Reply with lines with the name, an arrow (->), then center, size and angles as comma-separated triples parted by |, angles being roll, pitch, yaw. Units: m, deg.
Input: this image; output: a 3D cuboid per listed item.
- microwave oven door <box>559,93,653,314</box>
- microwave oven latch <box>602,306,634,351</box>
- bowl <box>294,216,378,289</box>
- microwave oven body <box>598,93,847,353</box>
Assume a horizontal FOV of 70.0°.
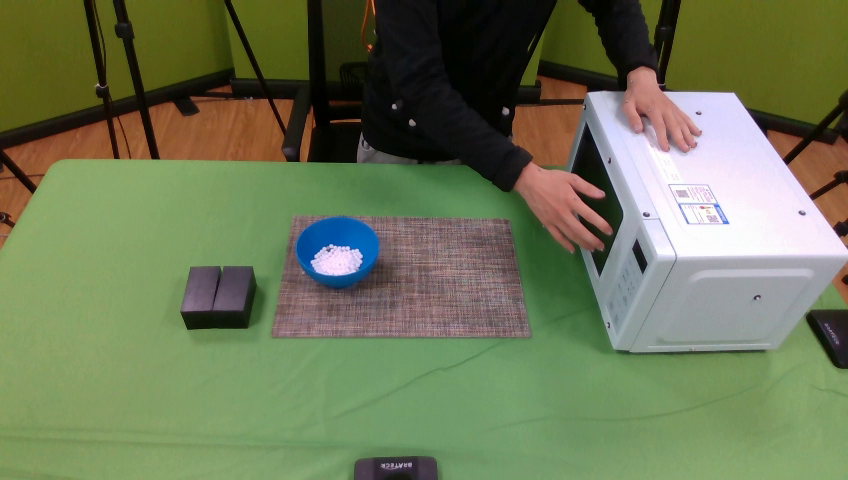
microwave oven door -> 0.327, -0.075, 1.123 | 0.039, 0.245, 0.353 | -1, 46, -5
microwave oven latch -> 0.332, 0.153, 1.044 | 0.030, 0.029, 0.078 | 0, 45, -4
bowl -> -0.158, 0.036, 1.110 | 0.151, 0.077, 0.150 | 3, 45, -2
microwave oven body -> 0.475, -0.041, 1.109 | 0.326, 0.261, 0.438 | -1, 45, -4
